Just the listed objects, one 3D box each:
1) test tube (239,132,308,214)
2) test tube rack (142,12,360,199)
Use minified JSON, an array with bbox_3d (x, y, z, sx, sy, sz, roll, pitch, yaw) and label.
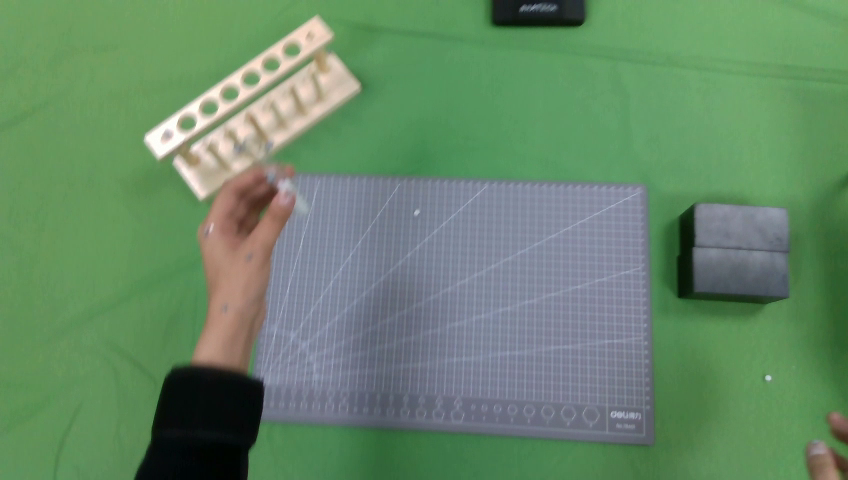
[{"bbox_3d":[-0.126,-0.053,0.525,0.017,0.151,0.017,-1,73,4],"label":"test tube"},{"bbox_3d":[-0.199,-0.157,0.724,0.242,0.085,0.066,-38,77,-6],"label":"test tube rack"}]
